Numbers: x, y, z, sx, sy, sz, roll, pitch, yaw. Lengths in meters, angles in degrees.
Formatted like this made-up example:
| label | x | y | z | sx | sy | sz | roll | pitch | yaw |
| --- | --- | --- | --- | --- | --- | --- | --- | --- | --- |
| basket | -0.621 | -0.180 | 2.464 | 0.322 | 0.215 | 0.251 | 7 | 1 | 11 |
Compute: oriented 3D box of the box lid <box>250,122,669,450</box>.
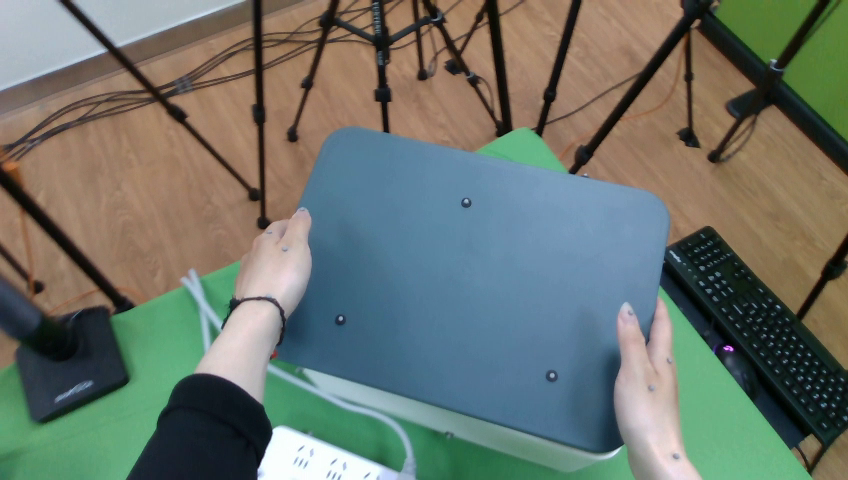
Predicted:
| label | x | y | z | sx | sy | sz | roll | pitch | yaw |
| --- | --- | --- | --- | --- | --- | --- | --- | --- | --- |
| box lid | 0.039 | 0.029 | 0.593 | 0.371 | 0.015 | 0.262 | 14 | 71 | 9 |

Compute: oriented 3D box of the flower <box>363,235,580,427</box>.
| label | x | y | z | sx | sy | sz | roll | pitch | yaw |
| --- | --- | --- | --- | --- | --- | --- | --- | --- | --- |
| flower | 0.059 | 0.118 | 0.795 | 0.360 | 0.038 | 0.044 | 40 | 93 | 13 |

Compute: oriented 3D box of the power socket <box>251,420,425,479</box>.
| label | x | y | z | sx | sy | sz | roll | pitch | yaw |
| --- | --- | --- | --- | --- | --- | --- | --- | --- | --- |
| power socket | -0.094 | 0.279 | 0.703 | 0.226 | 0.033 | 0.072 | 19 | 64 | 11 |

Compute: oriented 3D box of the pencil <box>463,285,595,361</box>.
| label | x | y | z | sx | sy | sz | roll | pitch | yaw |
| --- | --- | --- | --- | --- | --- | --- | --- | --- | --- |
| pencil | 0.137 | 0.110 | 0.800 | 0.193 | 0.012 | 0.012 | 29 | 66 | 12 |

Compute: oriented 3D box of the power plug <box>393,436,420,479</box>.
| label | x | y | z | sx | sy | sz | roll | pitch | yaw |
| --- | --- | --- | --- | --- | --- | --- | --- | --- | --- |
| power plug | -0.012 | 0.267 | 0.683 | 0.035 | 0.053 | 0.072 | 28 | 62 | 18 |

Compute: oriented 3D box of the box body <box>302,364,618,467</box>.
| label | x | y | z | sx | sy | sz | roll | pitch | yaw |
| --- | --- | --- | --- | --- | --- | --- | --- | --- | --- |
| box body | 0.056 | 0.094 | 0.727 | 0.363 | 0.161 | 0.252 | 16 | 63 | 9 |
